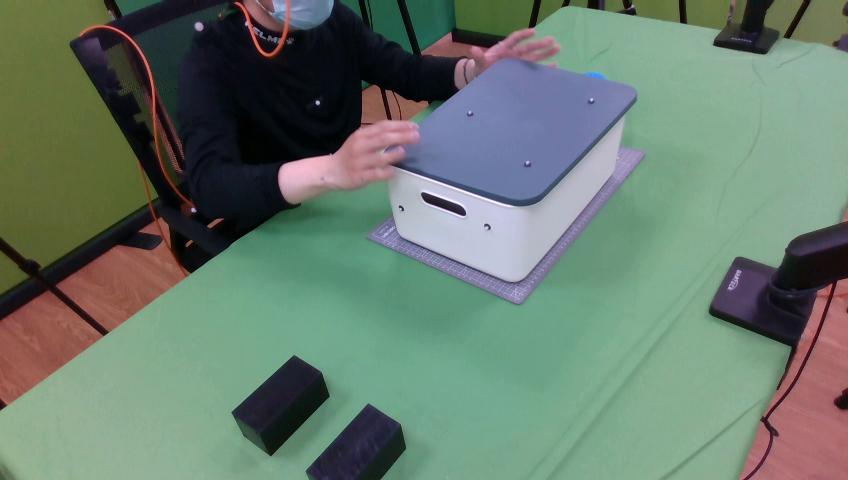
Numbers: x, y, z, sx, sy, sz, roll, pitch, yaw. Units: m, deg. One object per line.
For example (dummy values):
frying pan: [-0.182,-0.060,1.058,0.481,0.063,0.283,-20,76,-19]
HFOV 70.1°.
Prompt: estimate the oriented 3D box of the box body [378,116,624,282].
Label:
box body: [0.137,-0.121,0.978,0.252,0.161,0.365,22,49,30]

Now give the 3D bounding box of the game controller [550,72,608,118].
game controller: [0.326,-0.306,1.260,0.096,0.052,0.155,14,45,17]

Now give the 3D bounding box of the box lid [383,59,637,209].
box lid: [0.141,-0.182,0.928,0.261,0.015,0.372,23,48,29]
